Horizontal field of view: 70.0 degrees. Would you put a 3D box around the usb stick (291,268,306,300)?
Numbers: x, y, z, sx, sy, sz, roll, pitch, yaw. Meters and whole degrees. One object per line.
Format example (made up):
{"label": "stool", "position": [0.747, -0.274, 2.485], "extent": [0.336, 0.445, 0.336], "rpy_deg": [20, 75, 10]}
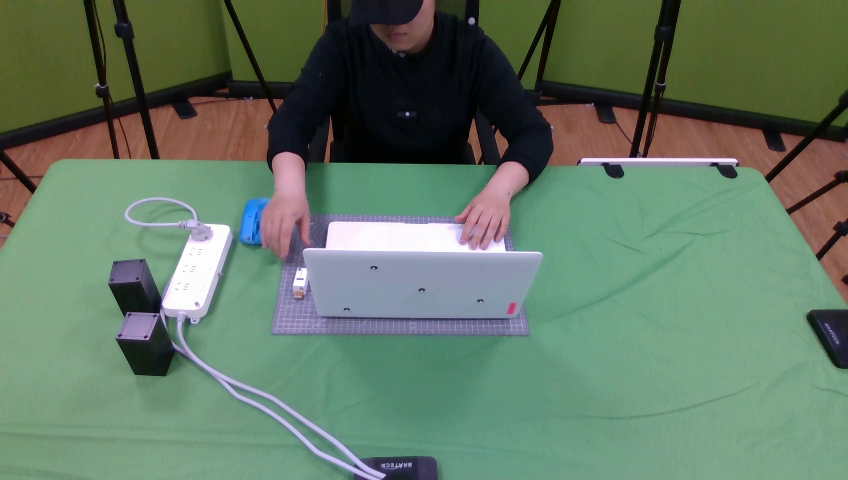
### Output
{"label": "usb stick", "position": [-0.227, 0.081, 1.093], "extent": [0.021, 0.027, 0.059], "rpy_deg": [6, 48, -4]}

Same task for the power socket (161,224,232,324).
{"label": "power socket", "position": [-0.411, 0.052, 1.107], "extent": [0.072, 0.033, 0.225], "rpy_deg": [4, 46, -1]}

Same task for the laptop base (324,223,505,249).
{"label": "laptop base", "position": [-0.016, 0.054, 1.145], "extent": [0.354, 0.023, 0.234], "rpy_deg": [1, 42, -3]}

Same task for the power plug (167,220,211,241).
{"label": "power plug", "position": [-0.438, -0.017, 1.143], "extent": [0.072, 0.053, 0.035], "rpy_deg": [9, 42, 7]}

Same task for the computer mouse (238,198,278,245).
{"label": "computer mouse", "position": [-0.328, -0.040, 1.200], "extent": [0.063, 0.041, 0.116], "rpy_deg": [3, 49, -4]}

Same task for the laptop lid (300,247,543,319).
{"label": "laptop lid", "position": [-0.006, 0.075, 0.963], "extent": [0.357, 0.242, 0.013], "rpy_deg": [2, 58, -4]}
